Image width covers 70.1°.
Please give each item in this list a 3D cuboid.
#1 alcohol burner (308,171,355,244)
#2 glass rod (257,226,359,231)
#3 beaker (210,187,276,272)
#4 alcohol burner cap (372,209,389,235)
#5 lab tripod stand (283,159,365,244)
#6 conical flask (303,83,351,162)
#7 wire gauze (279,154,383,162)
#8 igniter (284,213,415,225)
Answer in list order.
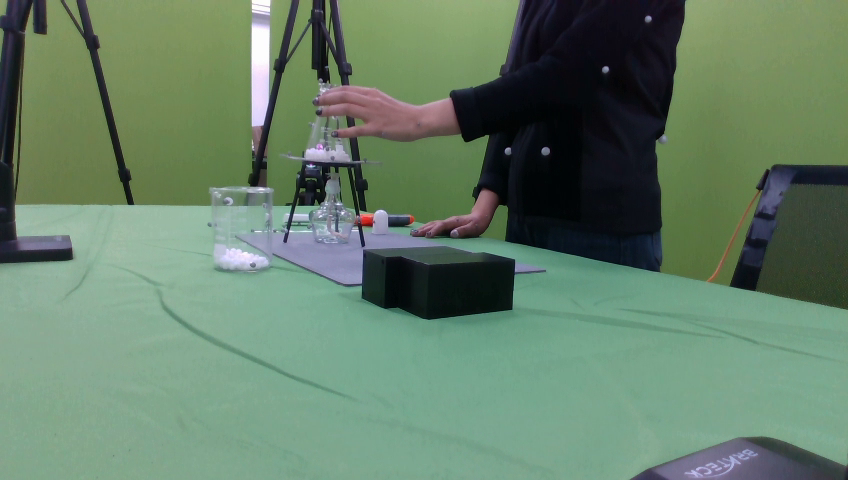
[{"bbox_3d":[-0.151,-0.054,0.993,0.078,0.119,0.078,2,6,0],"label":"alcohol burner"},{"bbox_3d":[-0.216,-0.022,1.151,0.201,0.008,0.008,-2,8,-28],"label":"glass rod"},{"bbox_3d":[-0.224,-0.014,0.738,0.084,0.100,0.074,4,7,16],"label":"beaker"},{"bbox_3d":[-0.082,-0.035,1.143,0.034,0.048,0.034,2,6,0],"label":"alcohol burner cap"},{"bbox_3d":[-0.151,-0.063,0.983,0.148,0.131,0.148,4,7,0],"label":"lab tripod stand"},{"bbox_3d":[-0.152,-0.186,0.964,0.075,0.122,0.075,4,6,0],"label":"conical flask"},{"bbox_3d":[-0.149,-0.128,0.974,0.124,0.011,0.122,7,5,41],"label":"wire gauze"},{"bbox_3d":[-0.154,-0.045,1.282,0.278,0.025,0.057,0,-2,-20],"label":"igniter"}]
